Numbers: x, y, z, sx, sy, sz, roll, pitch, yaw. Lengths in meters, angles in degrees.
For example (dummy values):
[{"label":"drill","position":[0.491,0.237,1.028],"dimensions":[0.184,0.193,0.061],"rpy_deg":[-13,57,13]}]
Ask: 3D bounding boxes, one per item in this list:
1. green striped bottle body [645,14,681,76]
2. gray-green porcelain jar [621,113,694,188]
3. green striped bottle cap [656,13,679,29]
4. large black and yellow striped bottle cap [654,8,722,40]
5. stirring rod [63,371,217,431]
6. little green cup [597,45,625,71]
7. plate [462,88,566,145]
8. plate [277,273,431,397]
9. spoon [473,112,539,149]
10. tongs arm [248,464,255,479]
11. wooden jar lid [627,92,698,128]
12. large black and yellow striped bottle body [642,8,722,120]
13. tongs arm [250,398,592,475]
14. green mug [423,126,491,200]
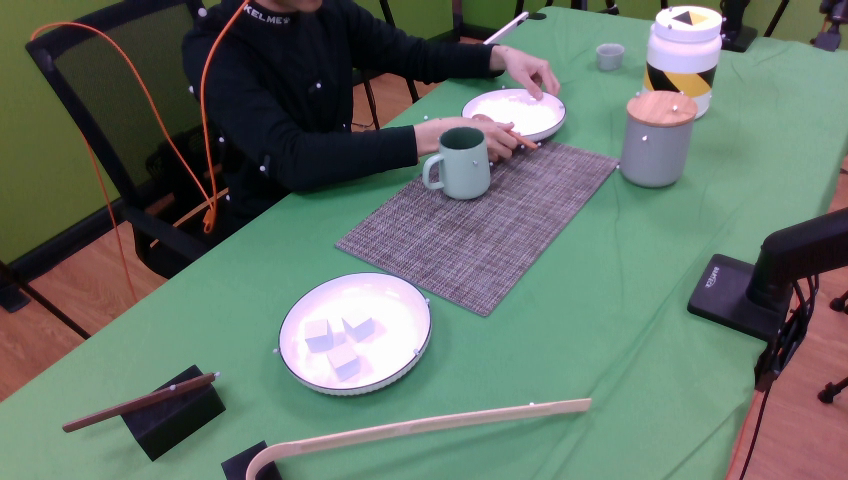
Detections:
[{"label":"green striped bottle body","position":[0.520,-0.424,1.312],"dimensions":[0.063,0.120,0.063],"rpy_deg":[-4,41,4]},{"label":"gray-green porcelain jar","position":[0.390,-0.160,1.020],"dimensions":[0.106,0.127,0.105],"rpy_deg":[-4,41,4]},{"label":"green striped bottle cap","position":[0.515,-0.463,1.278],"dimensions":[0.044,0.020,0.044],"rpy_deg":[-6,42,6]},{"label":"large black and yellow striped bottle cap","position":[0.483,-0.397,1.108],"dimensions":[0.115,0.019,0.114],"rpy_deg":[-3,41,3]},{"label":"stirring rod","position":[-0.337,0.192,0.723],"dimensions":[0.177,0.014,0.005],"rpy_deg":[-18,42,-12]},{"label":"little green cup","position":[0.422,-0.413,1.375],"dimensions":[0.061,0.039,0.061],"rpy_deg":[-3,41,3]},{"label":"plate","position":[0.179,-0.244,1.211],"dimensions":[0.209,0.038,0.208],"rpy_deg":[-3,39,3]},{"label":"plate","position":[-0.091,0.129,0.821],"dimensions":[0.207,0.039,0.206],"rpy_deg":[-4,40,4]},{"label":"spoon","position":[0.153,-0.207,1.144],"dimensions":[0.042,0.022,0.192],"rpy_deg":[-28,35,-16]},{"label":"tongs arm","position":[0.012,0.262,0.615],"dimensions":[0.385,0.026,0.050],"rpy_deg":[3,41,-2]},{"label":"wooden jar lid","position":[0.384,-0.207,0.980],"dimensions":[0.108,0.021,0.108],"rpy_deg":[-6,39,5]},{"label":"large black and yellow striped bottle body","position":[0.493,-0.334,1.161],"dimensions":[0.131,0.185,0.130],"rpy_deg":[-4,41,4]},{"label":"tongs arm","position":[0.008,0.212,0.675],"dimensions":[0.389,0.028,0.028],"rpy_deg":[-5,46,-11]},{"label":"green mug","position":[0.055,-0.126,1.039],"dimensions":[0.126,0.105,0.091],"rpy_deg":[-25,44,-19]}]
